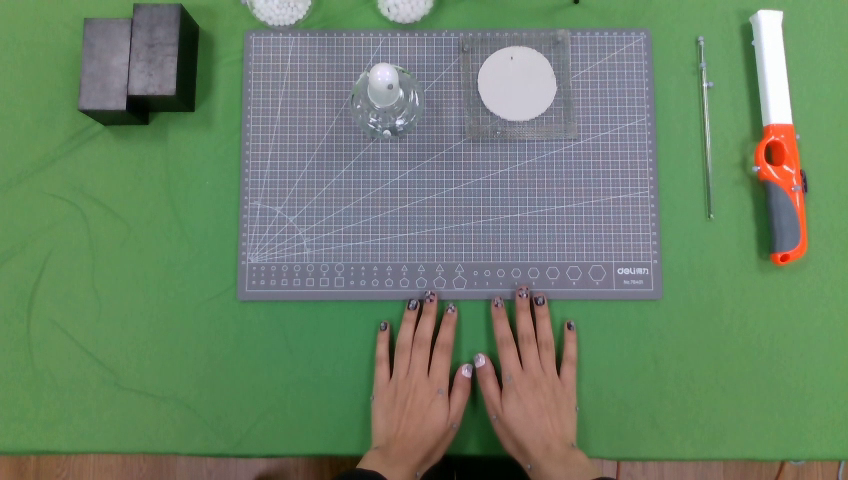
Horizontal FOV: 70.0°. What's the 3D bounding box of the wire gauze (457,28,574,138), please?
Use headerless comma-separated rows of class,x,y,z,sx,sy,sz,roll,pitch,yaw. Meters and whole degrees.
wire gauze,0.101,-0.171,0.664,0.125,0.011,0.121,-2,84,-2

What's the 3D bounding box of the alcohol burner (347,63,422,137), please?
alcohol burner,-0.041,-0.146,0.608,0.078,0.119,0.077,0,85,0

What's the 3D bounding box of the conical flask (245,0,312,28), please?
conical flask,-0.161,-0.278,0.622,0.075,0.122,0.075,0,83,0

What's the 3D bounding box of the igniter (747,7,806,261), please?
igniter,0.376,-0.115,0.650,0.057,0.025,0.275,-1,84,-10

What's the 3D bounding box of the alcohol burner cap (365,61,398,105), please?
alcohol burner cap,-0.040,-0.151,0.573,0.034,0.048,0.034,1,84,-5

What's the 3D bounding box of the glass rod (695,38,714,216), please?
glass rod,0.306,-0.125,0.660,0.008,0.008,0.199,-1,83,0

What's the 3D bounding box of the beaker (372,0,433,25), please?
beaker,-0.022,-0.277,0.633,0.084,0.100,0.074,36,85,4
